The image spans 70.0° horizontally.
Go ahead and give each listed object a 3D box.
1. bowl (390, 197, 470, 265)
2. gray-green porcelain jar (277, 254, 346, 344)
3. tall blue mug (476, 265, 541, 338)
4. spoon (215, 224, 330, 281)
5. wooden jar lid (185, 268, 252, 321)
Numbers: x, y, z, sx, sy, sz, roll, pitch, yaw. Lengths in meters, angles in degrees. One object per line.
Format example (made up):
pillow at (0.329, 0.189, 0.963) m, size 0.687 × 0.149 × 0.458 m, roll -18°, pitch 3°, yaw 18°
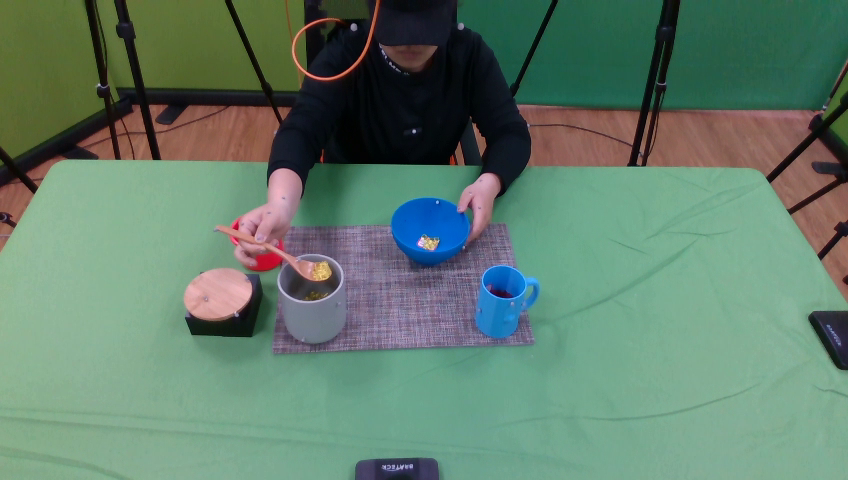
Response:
bowl at (0.010, -0.005, 1.160) m, size 0.151 × 0.077 × 0.150 m, roll 2°, pitch 46°, yaw -2°
gray-green porcelain jar at (-0.184, 0.102, 1.008) m, size 0.106 × 0.127 × 0.105 m, roll 2°, pitch 46°, yaw -2°
tall blue mug at (0.142, 0.099, 1.047) m, size 0.077 × 0.108 × 0.107 m, roll 33°, pitch 52°, yaw 27°
spoon at (-0.239, 0.017, 0.962) m, size 0.194 × 0.022 × 0.041 m, roll 29°, pitch 39°, yaw -10°
wooden jar lid at (-0.343, 0.093, 1.015) m, size 0.108 × 0.021 × 0.107 m, roll 3°, pitch 46°, yaw -3°
